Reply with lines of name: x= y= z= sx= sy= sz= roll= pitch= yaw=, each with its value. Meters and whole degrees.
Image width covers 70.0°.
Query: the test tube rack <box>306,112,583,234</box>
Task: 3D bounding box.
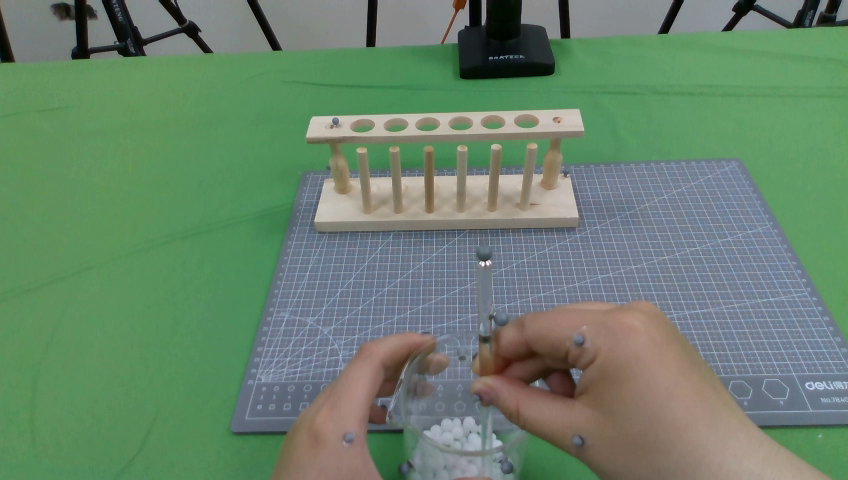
test tube rack: x=0.018 y=-0.060 z=0.555 sx=0.242 sy=0.086 sz=0.066 roll=-1 pitch=44 yaw=3

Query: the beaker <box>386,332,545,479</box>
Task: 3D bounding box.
beaker: x=0.020 y=0.114 z=0.346 sx=0.084 sy=0.101 sz=0.073 roll=-14 pitch=46 yaw=-14

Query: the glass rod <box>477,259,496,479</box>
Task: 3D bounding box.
glass rod: x=0.033 y=0.082 z=0.301 sx=0.008 sy=0.201 sz=0.008 roll=-4 pitch=42 yaw=4
